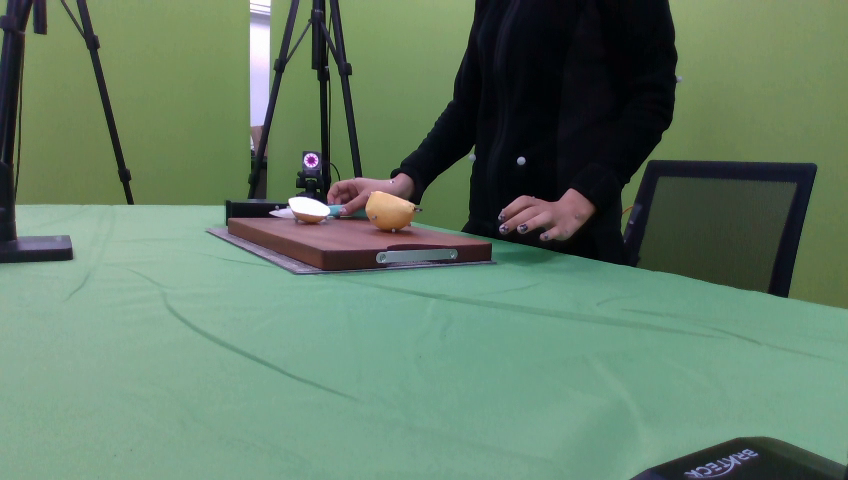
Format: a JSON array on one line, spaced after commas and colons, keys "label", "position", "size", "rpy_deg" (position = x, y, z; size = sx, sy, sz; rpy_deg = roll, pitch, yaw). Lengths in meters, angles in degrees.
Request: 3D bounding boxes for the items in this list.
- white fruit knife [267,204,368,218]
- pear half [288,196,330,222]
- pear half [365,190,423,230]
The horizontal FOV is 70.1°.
[{"label": "white fruit knife", "position": [-0.186, -0.053, 1.117], "size": [0.208, 0.027, 0.016], "rpy_deg": [-3, -19, -32]}, {"label": "pear half", "position": [-0.202, -0.048, 1.042], "size": [0.070, 0.031, 0.088], "rpy_deg": [20, 23, 15]}, {"label": "pear half", "position": [-0.045, -0.042, 0.955], "size": [0.077, 0.056, 0.109], "rpy_deg": [20, -9, -41]}]
